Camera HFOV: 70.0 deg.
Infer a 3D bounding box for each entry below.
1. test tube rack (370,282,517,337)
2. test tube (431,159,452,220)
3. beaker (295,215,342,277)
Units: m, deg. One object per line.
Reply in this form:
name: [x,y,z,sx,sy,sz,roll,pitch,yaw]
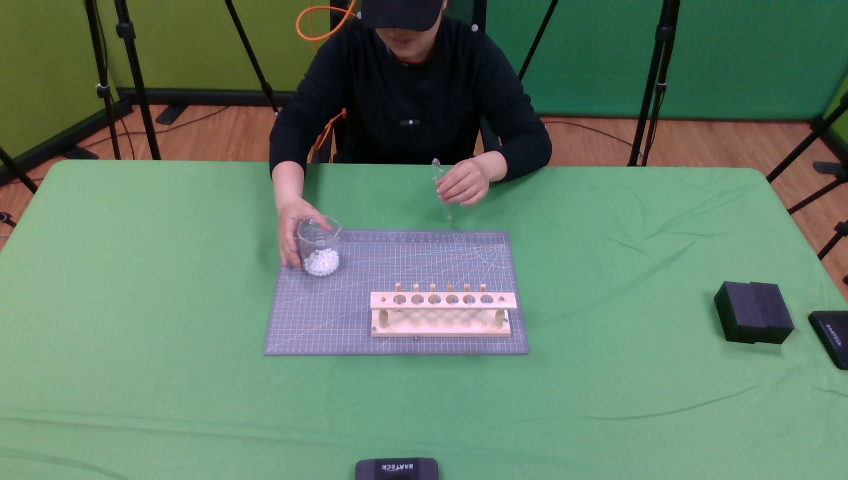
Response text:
test tube rack: [0.030,0.116,1.041,0.242,0.085,0.066,1,46,-4]
test tube: [0.035,-0.096,1.188,0.017,0.151,0.017,-8,45,8]
beaker: [-0.191,0.013,1.114,0.084,0.101,0.073,-12,49,-17]
